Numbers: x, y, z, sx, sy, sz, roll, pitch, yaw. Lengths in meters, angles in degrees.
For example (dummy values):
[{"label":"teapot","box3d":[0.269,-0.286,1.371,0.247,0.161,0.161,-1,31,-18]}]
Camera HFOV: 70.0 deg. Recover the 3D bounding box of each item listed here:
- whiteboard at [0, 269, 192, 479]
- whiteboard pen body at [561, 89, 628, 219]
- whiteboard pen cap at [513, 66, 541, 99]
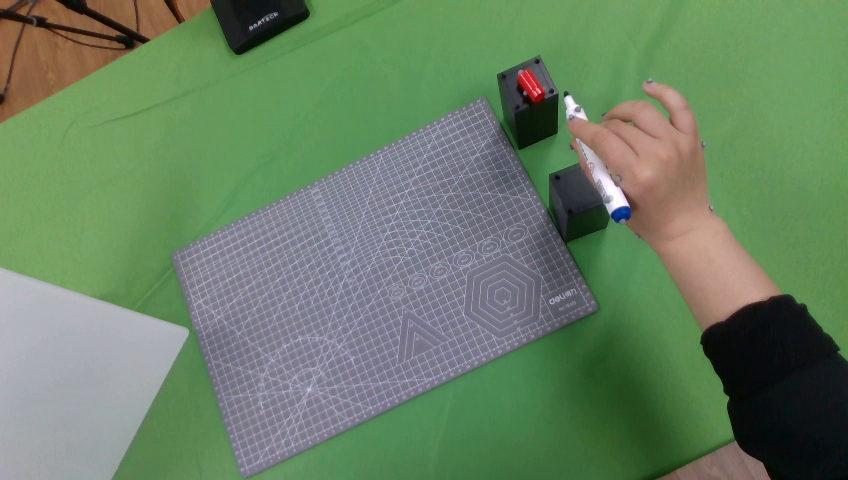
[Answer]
[{"label":"whiteboard","box3d":[-0.459,0.133,0.658,0.142,0.308,0.217,21,81,36]},{"label":"whiteboard pen body","box3d":[0.134,-0.075,0.491,0.017,0.017,0.139,-18,56,7]},{"label":"whiteboard pen cap","box3d":[0.108,-0.164,0.631,0.017,0.017,0.032,-31,74,3]}]
